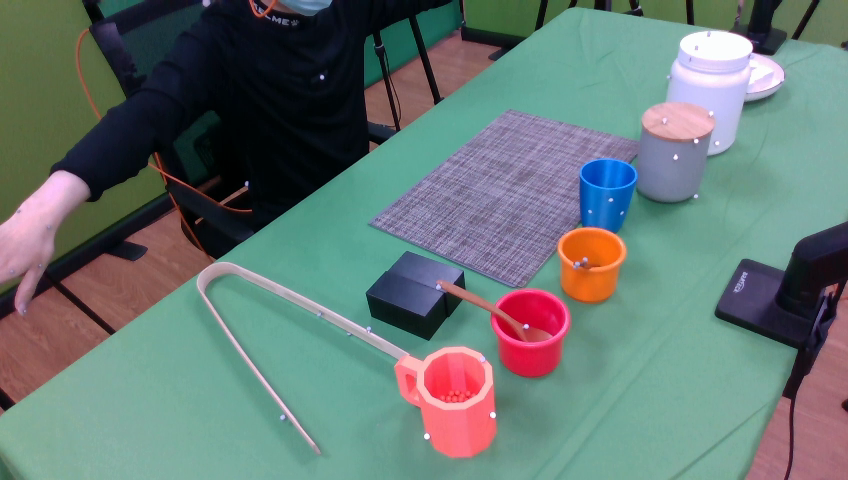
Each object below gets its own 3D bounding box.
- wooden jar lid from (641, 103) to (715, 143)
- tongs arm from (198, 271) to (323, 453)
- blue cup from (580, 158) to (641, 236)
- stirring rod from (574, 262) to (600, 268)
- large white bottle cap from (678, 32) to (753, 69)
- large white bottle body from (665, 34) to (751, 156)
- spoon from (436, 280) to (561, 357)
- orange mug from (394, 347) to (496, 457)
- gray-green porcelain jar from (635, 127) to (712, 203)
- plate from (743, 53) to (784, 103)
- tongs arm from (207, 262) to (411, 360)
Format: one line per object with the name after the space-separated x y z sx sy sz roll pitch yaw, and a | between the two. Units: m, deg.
0.398 -0.180 0.952 0.108 0.021 0.108 -4 43 4 | wooden jar lid
-0.236 0.153 0.830 0.028 0.028 0.384 -36 47 -18 | tongs arm
0.283 -0.063 0.947 0.092 0.100 0.092 -3 39 3 | blue cup
0.222 0.034 0.817 0.014 0.006 0.177 13 2 22 | stirring rod
0.491 -0.321 1.021 0.115 0.018 0.114 -4 41 4 | large white bottle cap
0.500 -0.257 1.076 0.130 0.185 0.130 -5 41 4 | large white bottle body
0.096 0.095 0.757 0.195 0.021 0.041 34 40 -20 | spoon
0.024 0.181 0.703 0.125 0.101 0.083 20 48 23 | orange mug
0.405 -0.133 0.992 0.106 0.127 0.105 -4 40 4 | gray-green porcelain jar
0.631 -0.336 1.262 0.207 0.039 0.206 -4 41 4 | plate
-0.179 0.106 0.870 0.381 0.026 0.051 23 54 32 | tongs arm
